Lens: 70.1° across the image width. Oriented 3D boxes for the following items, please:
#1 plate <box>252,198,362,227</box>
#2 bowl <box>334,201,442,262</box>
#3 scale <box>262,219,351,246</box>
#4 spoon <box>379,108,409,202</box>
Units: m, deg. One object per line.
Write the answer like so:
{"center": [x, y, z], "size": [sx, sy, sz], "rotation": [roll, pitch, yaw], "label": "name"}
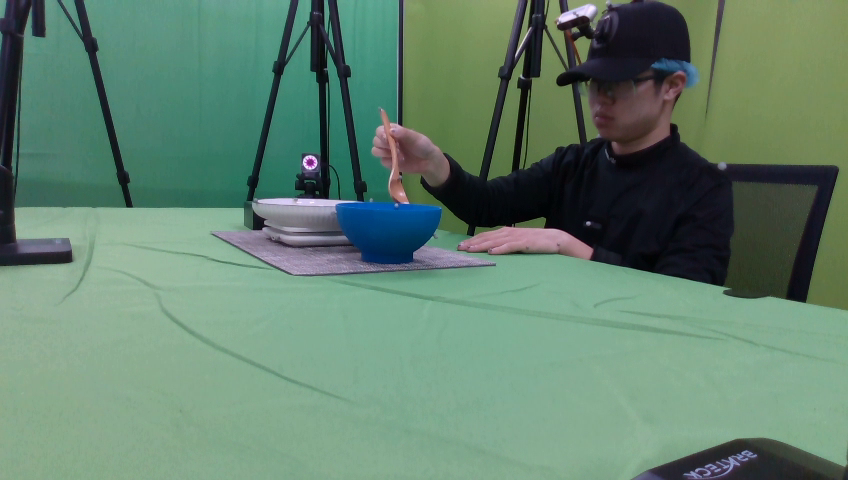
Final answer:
{"center": [-0.179, -0.047, 1.012], "size": [0.209, 0.038, 0.209], "rotation": [2, 6, 0], "label": "plate"}
{"center": [-0.051, -0.012, 0.848], "size": [0.151, 0.077, 0.151], "rotation": [2, 7, 0], "label": "bowl"}
{"center": [-0.160, -0.015, 1.027], "size": [0.202, 0.031, 0.148], "rotation": [-2, 8, -32], "label": "scale"}
{"center": [-0.050, -0.137, 0.972], "size": [0.021, 0.193, 0.042], "rotation": [-27, -30, 33], "label": "spoon"}
